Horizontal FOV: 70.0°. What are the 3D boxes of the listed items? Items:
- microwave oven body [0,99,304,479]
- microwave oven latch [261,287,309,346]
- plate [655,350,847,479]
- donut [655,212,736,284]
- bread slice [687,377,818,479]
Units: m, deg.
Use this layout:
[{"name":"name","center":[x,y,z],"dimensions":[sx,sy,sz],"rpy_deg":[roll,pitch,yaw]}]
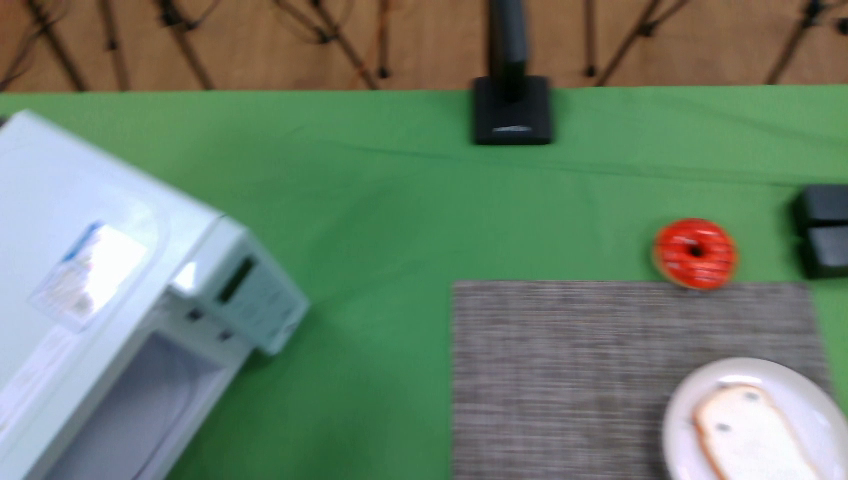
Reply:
[{"name":"microwave oven body","center":[-0.401,0.131,0.657],"dimensions":[0.324,0.262,0.440],"rpy_deg":[27,73,14]},{"name":"microwave oven latch","center":[-0.176,0.091,0.762],"dimensions":[0.030,0.030,0.079],"rpy_deg":[29,73,15]},{"name":"plate","center":[0.362,0.229,0.677],"dimensions":[0.207,0.039,0.206],"rpy_deg":[-1,67,4]},{"name":"donut","center":[0.345,0.011,0.770],"dimensions":[0.099,0.048,0.098],"rpy_deg":[-3,64,7]},{"name":"bread slice","center":[0.361,0.222,0.681],"dimensions":[0.105,0.019,0.130],"rpy_deg":[-19,67,-4]}]
